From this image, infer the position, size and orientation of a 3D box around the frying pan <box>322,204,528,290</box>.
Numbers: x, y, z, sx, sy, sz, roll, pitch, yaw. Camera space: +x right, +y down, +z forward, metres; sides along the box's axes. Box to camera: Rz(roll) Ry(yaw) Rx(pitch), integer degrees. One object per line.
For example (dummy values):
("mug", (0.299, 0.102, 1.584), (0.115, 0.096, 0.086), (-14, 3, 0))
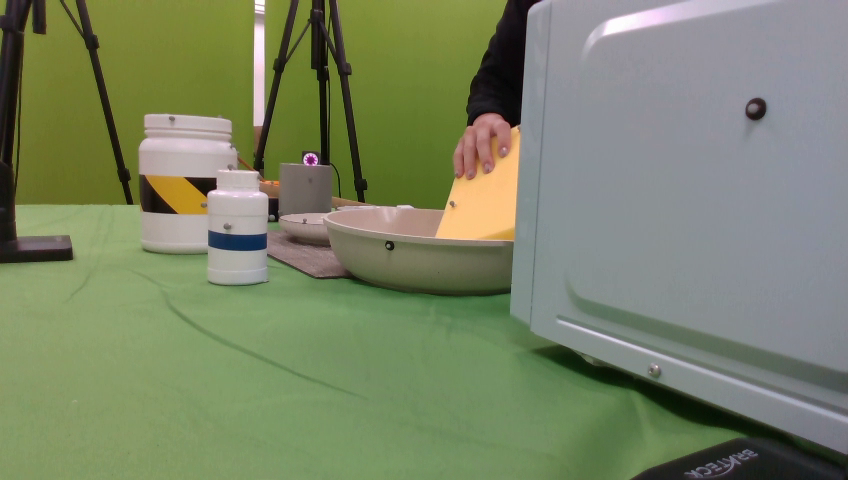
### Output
("frying pan", (0.109, -0.017, 0.800), (0.490, 0.102, 0.305), (-12, 16, -30))

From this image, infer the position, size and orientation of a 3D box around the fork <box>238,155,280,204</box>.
("fork", (-0.396, -0.143, 1.487), (0.028, 0.018, 0.208), (20, -26, 44))

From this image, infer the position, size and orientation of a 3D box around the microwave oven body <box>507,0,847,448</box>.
("microwave oven body", (0.331, -0.042, 0.425), (0.444, 0.260, 0.324), (-2, 8, -31))

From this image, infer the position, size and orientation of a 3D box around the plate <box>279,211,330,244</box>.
("plate", (-0.139, -0.022, 1.021), (0.209, 0.038, 0.209), (2, 8, 0))

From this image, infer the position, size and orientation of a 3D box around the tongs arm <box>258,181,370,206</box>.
("tongs arm", (-0.241, -0.095, 1.373), (0.387, 0.026, 0.050), (9, 0, -37))

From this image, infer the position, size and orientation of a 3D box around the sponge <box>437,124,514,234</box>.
("sponge", (0.092, -0.053, 0.748), (0.118, 0.061, 0.206), (-21, 36, 34))

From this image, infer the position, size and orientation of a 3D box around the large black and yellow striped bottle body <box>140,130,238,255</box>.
("large black and yellow striped bottle body", (-0.336, -0.078, 0.871), (0.131, 0.184, 0.130), (2, 8, 0))

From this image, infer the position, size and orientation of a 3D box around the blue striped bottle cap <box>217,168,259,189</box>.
("blue striped bottle cap", (-0.202, -0.067, 0.657), (0.044, 0.020, 0.044), (1, 10, 0))

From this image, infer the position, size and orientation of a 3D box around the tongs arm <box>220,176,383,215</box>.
("tongs arm", (-0.285, -0.103, 1.445), (0.389, 0.027, 0.028), (9, -4, -23))

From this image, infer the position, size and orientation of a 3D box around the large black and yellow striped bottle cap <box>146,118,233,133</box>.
("large black and yellow striped bottle cap", (-0.333, -0.163, 0.861), (0.115, 0.019, 0.115), (1, 9, 0))

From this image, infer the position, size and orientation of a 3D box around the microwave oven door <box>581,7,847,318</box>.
("microwave oven door", (0.295, -0.067, 0.570), (0.358, 0.243, 0.039), (-3, 8, -31))

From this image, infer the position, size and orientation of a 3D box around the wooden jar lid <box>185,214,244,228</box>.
("wooden jar lid", (-0.404, -0.037, 1.169), (0.108, 0.020, 0.108), (3, 7, 0))

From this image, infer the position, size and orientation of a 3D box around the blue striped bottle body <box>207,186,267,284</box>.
("blue striped bottle body", (-0.204, -0.016, 0.663), (0.063, 0.120, 0.063), (2, 7, 0))

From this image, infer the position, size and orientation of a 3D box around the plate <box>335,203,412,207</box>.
("plate", (-0.089, -0.053, 1.309), (0.208, 0.039, 0.207), (2, 8, 0))

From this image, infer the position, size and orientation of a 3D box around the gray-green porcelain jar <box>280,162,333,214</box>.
("gray-green porcelain jar", (-0.238, -0.092, 1.221), (0.106, 0.126, 0.106), (2, 7, 0))

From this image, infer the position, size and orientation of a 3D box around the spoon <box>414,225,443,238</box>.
("spoon", (0.017, -0.019, 1.113), (0.041, 0.021, 0.194), (-14, 3, 12))

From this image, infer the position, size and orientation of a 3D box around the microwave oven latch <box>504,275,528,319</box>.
("microwave oven latch", (0.100, 0.042, 0.471), (0.079, 0.029, 0.030), (-1, 7, -28))
